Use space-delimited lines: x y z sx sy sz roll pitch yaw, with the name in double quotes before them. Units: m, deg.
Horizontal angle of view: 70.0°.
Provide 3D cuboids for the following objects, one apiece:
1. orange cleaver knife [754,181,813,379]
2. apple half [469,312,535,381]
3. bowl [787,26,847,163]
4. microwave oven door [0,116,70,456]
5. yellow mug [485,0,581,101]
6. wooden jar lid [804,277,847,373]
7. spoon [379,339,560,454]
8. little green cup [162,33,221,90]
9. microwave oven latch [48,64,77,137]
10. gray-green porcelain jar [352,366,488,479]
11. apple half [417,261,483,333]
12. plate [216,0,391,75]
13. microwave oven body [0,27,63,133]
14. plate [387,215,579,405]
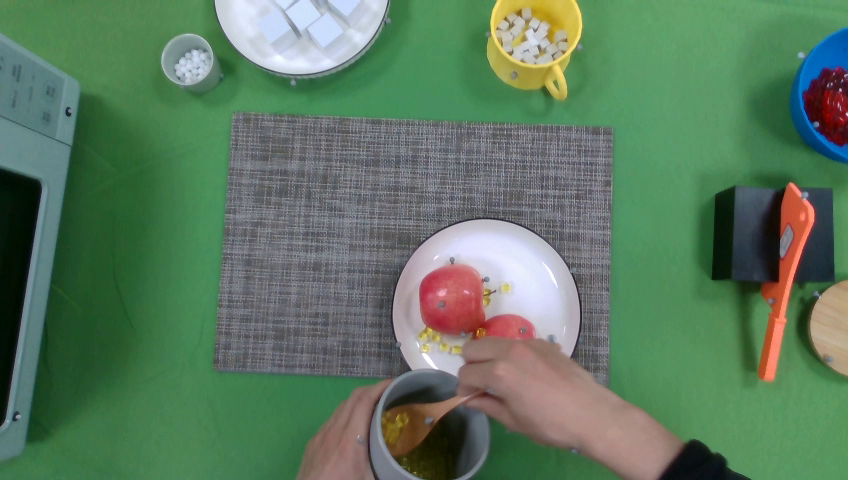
"orange cleaver knife" 0.375 0.045 0.649 0.012 0.077 0.212 4 109 6
"apple half" 0.087 0.117 0.664 0.081 0.033 0.081 0 81 2
"bowl" 0.464 -0.149 0.665 0.151 0.077 0.151 0 85 2
"microwave oven door" -0.453 0.047 0.578 0.039 0.244 0.355 6 85 3
"yellow mug" 0.129 -0.219 0.689 0.100 0.064 0.130 -26 85 -1
"wooden jar lid" 0.475 0.095 0.672 0.108 0.021 0.108 0 85 3
"spoon" 0.037 0.139 0.543 0.194 0.022 0.041 -32 68 15
"little green cup" -0.271 -0.207 0.713 0.061 0.039 0.061 0 85 1
"microwave oven latch" -0.423 -0.161 0.697 0.030 0.029 0.079 9 86 2
"gray-green porcelain jar" -0.009 0.195 0.574 0.106 0.127 0.105 10 50 -12
"apple half" 0.028 0.062 0.662 0.074 0.053 0.080 0 86 4
"plate" -0.139 -0.292 0.719 0.207 0.039 0.207 0 85 2
"microwave oven body" -0.593 -0.011 0.592 0.326 0.260 0.440 6 86 2
"plate" 0.065 0.077 0.674 0.209 0.038 0.208 0 85 2
